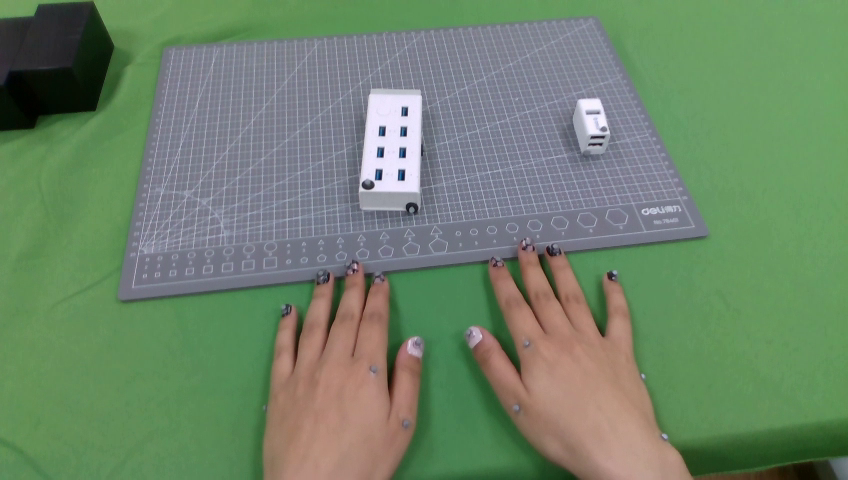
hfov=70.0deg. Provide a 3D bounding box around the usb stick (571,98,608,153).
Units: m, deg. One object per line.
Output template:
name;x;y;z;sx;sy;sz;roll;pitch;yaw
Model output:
usb stick;0.145;-0.106;0.536;0.021;0.027;0.058;-2;51;-1

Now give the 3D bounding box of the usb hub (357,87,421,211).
usb hub;-0.028;-0.080;0.515;0.049;0.025;0.124;1;53;0
